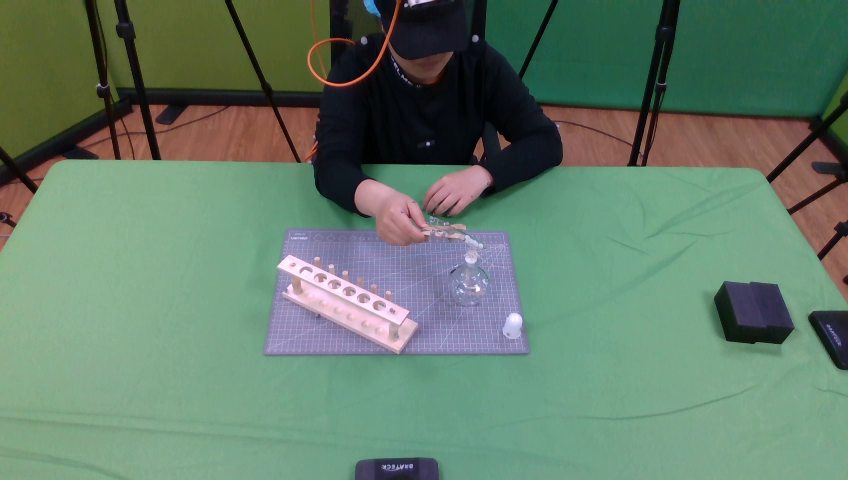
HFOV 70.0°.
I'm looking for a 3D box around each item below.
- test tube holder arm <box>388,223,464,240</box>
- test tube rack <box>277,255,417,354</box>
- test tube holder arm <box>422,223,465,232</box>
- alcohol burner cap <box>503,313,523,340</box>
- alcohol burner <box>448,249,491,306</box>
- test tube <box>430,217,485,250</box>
[{"bbox_3d":[-0.001,-0.015,1.010,0.015,0.013,0.177,18,-7,-43],"label":"test tube holder arm"},{"bbox_3d":[-0.131,0.099,1.045,0.241,0.085,0.066,23,49,17],"label":"test tube rack"},{"bbox_3d":[0.031,-0.018,0.978,0.087,0.015,0.010,-4,75,46],"label":"test tube holder arm"},{"bbox_3d":[0.156,0.148,1.051,0.034,0.048,0.033,1,46,-1],"label":"alcohol burner cap"},{"bbox_3d":[0.081,0.062,1.078,0.078,0.120,0.077,1,45,-1],"label":"alcohol burner"},{"bbox_3d":[0.057,-0.008,0.976,0.017,0.151,0.017,-13,67,33],"label":"test tube"}]
